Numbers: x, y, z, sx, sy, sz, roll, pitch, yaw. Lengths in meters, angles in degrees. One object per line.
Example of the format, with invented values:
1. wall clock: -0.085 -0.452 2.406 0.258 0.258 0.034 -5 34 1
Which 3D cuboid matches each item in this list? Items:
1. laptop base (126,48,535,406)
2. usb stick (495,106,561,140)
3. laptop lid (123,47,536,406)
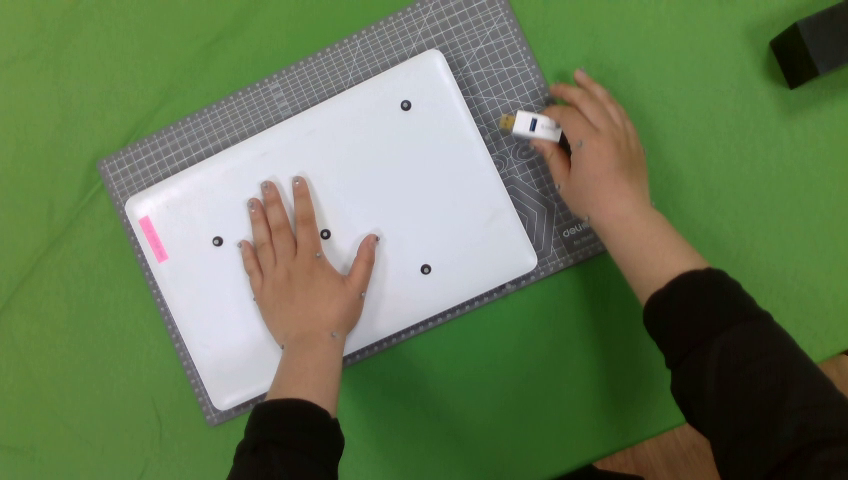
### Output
1. laptop base: -0.097 -0.010 0.601 0.354 0.023 0.235 -25 91 5
2. usb stick: 0.095 -0.110 0.564 0.059 0.027 0.021 13 95 6
3. laptop lid: -0.097 -0.008 0.590 0.356 0.013 0.241 -24 91 5
